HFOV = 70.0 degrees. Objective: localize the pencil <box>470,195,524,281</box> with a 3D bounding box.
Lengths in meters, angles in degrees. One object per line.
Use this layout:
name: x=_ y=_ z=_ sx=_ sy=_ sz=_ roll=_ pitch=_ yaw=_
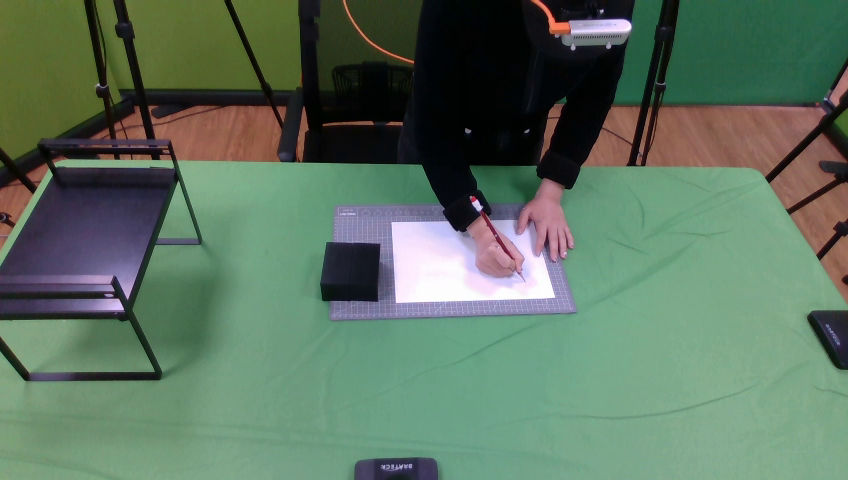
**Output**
pencil: x=0.138 y=-0.001 z=1.123 sx=0.012 sy=0.012 sz=0.194 roll=-42 pitch=106 yaw=-35
